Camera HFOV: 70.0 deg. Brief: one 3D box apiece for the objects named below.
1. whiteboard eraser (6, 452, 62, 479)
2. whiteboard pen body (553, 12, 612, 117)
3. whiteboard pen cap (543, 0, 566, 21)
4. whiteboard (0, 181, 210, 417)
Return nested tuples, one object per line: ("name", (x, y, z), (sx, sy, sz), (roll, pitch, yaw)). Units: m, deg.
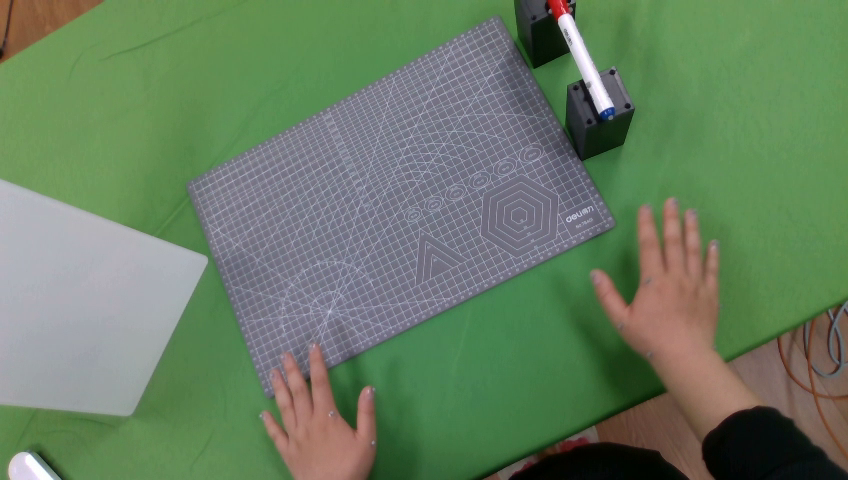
("whiteboard eraser", (-0.471, 0.301, 0.741), (0.101, 0.019, 0.041), (35, 87, 15))
("whiteboard pen body", (0.153, -0.184, 0.604), (0.017, 0.017, 0.139), (-22, 75, 7))
("whiteboard pen cap", (0.132, -0.240, 0.616), (0.017, 0.017, 0.032), (-20, 77, 8))
("whiteboard", (-0.439, 0.053, 0.667), (0.142, 0.308, 0.217), (22, 84, 35))
